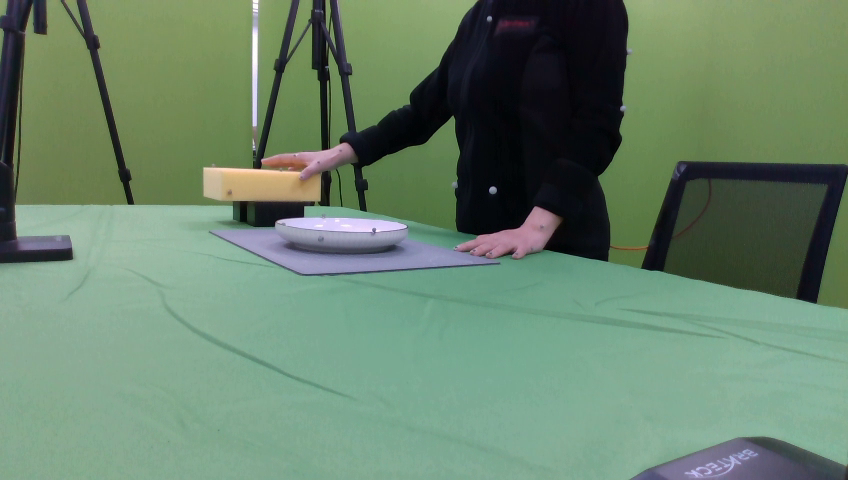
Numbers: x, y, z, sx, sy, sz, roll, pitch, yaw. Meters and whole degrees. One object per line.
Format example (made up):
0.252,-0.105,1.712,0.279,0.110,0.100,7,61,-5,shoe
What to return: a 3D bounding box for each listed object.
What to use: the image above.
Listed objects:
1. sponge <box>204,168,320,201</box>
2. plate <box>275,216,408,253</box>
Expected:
-0.333,-0.114,1.247,0.208,0.061,0.117,-3,9,-37,sponge
-0.129,-0.009,0.954,0.209,0.038,0.209,2,7,0,plate
